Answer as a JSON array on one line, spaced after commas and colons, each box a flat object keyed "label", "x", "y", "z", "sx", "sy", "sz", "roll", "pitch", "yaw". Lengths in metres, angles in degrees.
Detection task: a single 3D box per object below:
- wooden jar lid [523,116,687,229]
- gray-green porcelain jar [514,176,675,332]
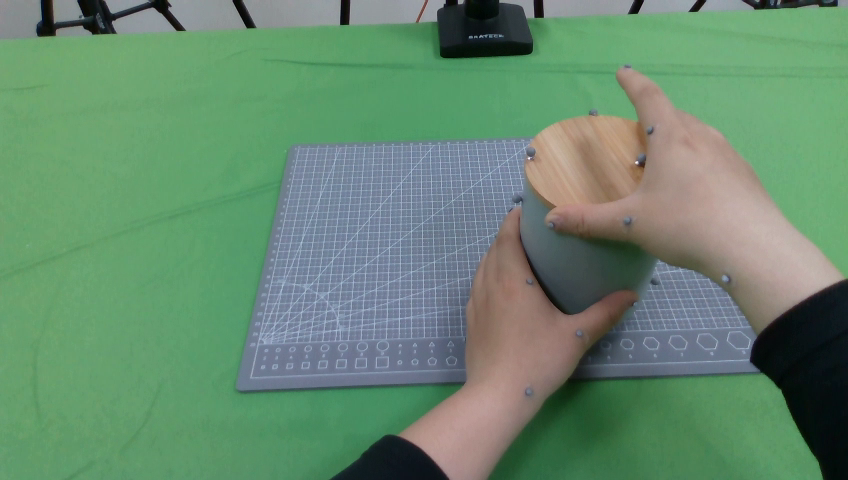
[{"label": "wooden jar lid", "x": 0.122, "y": -0.045, "z": 0.415, "sx": 0.108, "sy": 0.021, "sz": 0.107, "roll": -2, "pitch": 48, "yaw": 2}, {"label": "gray-green porcelain jar", "x": 0.124, "y": -0.001, "z": 0.460, "sx": 0.106, "sy": 0.127, "sz": 0.105, "roll": -1, "pitch": 46, "yaw": 2}]
